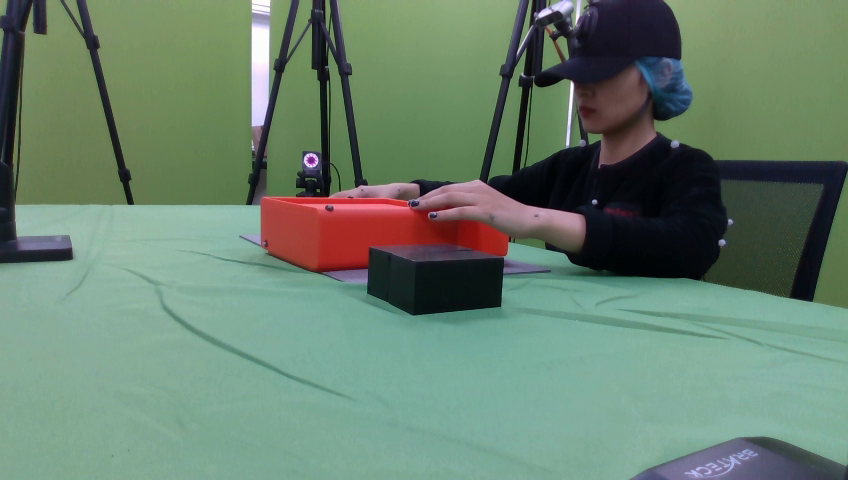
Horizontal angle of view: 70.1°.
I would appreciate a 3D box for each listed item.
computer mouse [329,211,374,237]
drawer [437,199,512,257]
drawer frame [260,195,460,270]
[{"bbox_3d":[-0.131,-0.030,1.113,0.063,0.041,0.117,5,12,7],"label":"computer mouse"},{"bbox_3d":[-0.011,-0.020,0.900,0.213,0.073,0.193,-3,9,-34],"label":"drawer"},{"bbox_3d":[-0.092,-0.018,0.846,0.215,0.082,0.200,-4,10,-35],"label":"drawer frame"}]
